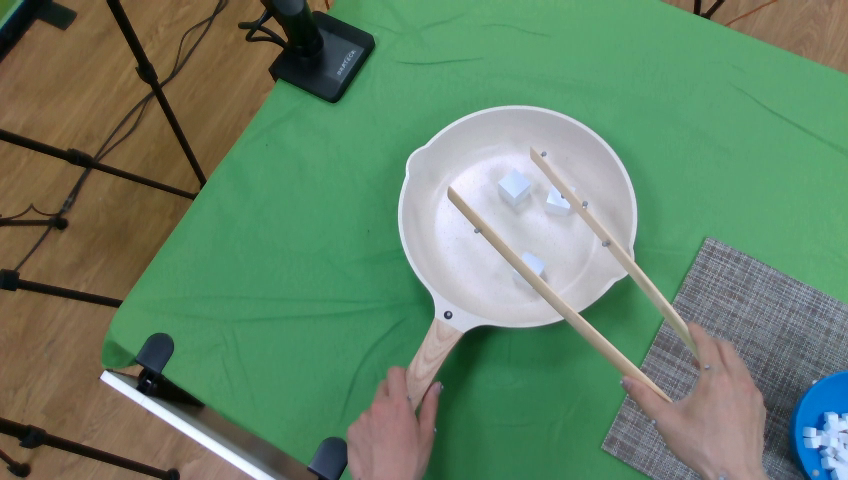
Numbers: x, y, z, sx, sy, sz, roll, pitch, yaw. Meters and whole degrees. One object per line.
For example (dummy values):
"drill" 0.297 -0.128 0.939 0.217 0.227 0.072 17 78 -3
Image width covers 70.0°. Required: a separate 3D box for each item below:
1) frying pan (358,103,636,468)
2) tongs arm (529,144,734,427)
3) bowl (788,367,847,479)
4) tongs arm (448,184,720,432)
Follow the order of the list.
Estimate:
"frying pan" 0.060 0.050 0.735 0.305 0.103 0.486 29 69 14
"tongs arm" 0.204 0.027 0.667 0.051 0.027 0.380 -24 56 -14
"bowl" 0.463 0.216 0.657 0.151 0.077 0.150 -1 72 4
"tongs arm" 0.146 0.057 0.652 0.028 0.028 0.383 -30 57 -21
